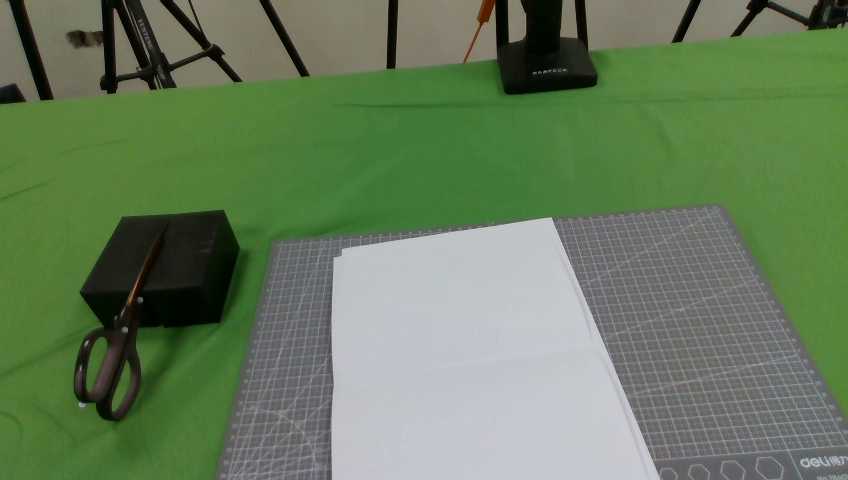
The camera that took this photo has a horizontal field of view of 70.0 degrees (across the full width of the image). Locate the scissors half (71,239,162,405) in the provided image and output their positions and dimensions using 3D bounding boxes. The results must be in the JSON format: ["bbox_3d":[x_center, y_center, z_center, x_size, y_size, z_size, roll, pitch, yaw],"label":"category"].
[{"bbox_3d":[-0.245,0.054,0.497,0.013,0.040,0.173,-5,42,7],"label":"scissors half"}]

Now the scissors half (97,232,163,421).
[{"bbox_3d":[-0.241,0.066,0.513,0.013,0.040,0.173,-8,59,11],"label":"scissors half"}]
